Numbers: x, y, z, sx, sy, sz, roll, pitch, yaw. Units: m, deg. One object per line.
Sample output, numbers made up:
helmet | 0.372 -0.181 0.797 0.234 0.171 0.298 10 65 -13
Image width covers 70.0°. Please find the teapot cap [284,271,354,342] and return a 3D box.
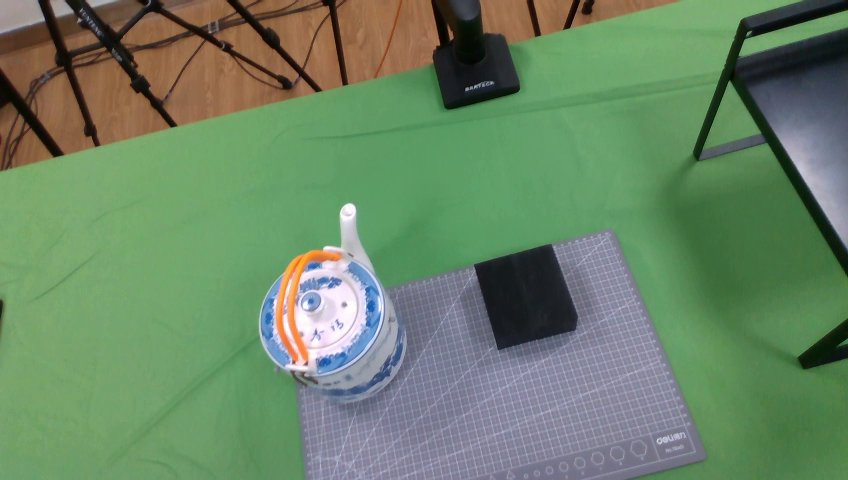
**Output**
teapot cap | -0.118 0.069 0.650 0.085 0.044 0.084 -5 61 9

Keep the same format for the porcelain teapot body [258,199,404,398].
porcelain teapot body | -0.105 0.060 0.696 0.145 0.227 0.204 5 65 13
